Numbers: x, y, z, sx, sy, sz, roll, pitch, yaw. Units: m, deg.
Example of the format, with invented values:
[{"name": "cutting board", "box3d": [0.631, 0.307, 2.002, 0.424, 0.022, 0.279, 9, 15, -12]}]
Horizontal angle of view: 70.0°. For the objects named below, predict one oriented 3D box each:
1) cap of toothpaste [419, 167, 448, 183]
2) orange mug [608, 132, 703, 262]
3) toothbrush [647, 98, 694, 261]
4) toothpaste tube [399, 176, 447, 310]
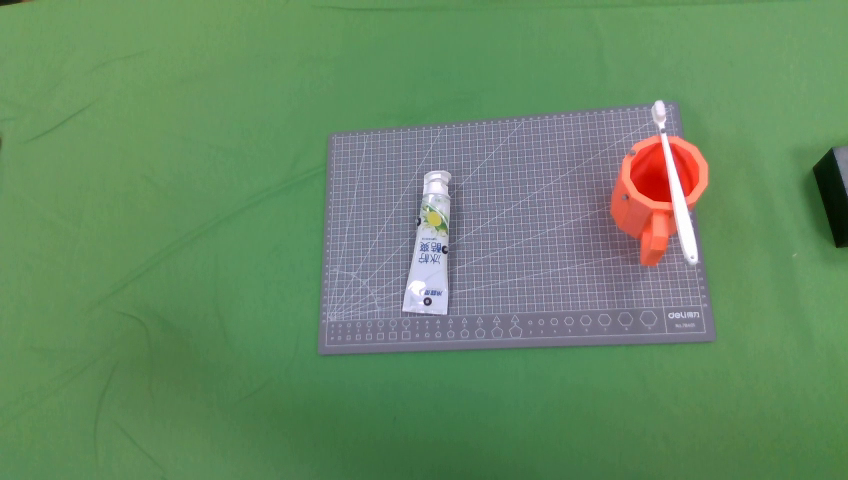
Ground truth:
[{"name": "cap of toothpaste", "box3d": [0.012, -0.078, 0.749, 0.037, 0.037, 0.011, -9, 68, 6]}, {"name": "orange mug", "box3d": [0.251, -0.043, 0.667, 0.083, 0.101, 0.125, 5, 68, 11]}, {"name": "toothbrush", "box3d": [0.252, -0.066, 0.619, 0.014, 0.017, 0.180, -6, 71, 4]}, {"name": "toothpaste tube", "box3d": [0.004, 0.001, 0.731, 0.055, 0.035, 0.164, 1, 76, 15]}]
